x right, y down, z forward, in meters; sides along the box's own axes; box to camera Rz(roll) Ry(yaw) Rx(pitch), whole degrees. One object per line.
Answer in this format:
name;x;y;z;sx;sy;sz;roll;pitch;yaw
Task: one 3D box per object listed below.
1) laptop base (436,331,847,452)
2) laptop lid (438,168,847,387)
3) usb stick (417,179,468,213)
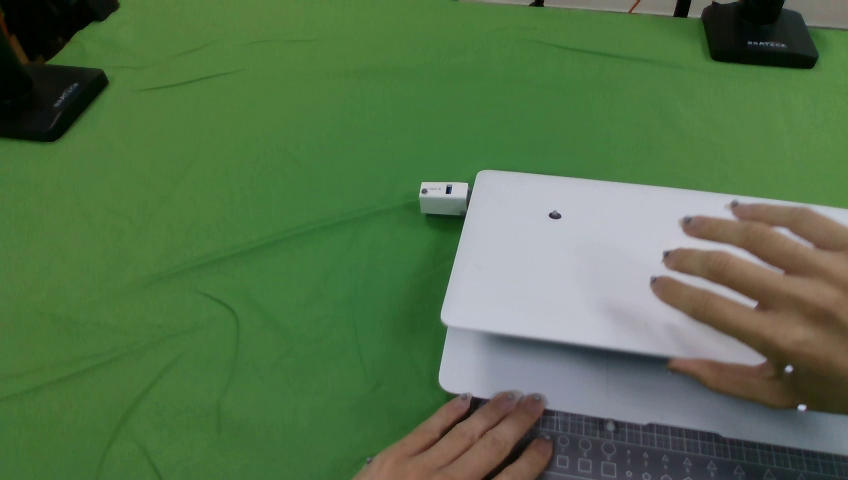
laptop base;0.201;0.046;0.498;0.354;0.023;0.233;7;53;7
laptop lid;0.201;0.015;0.467;0.356;0.013;0.240;8;35;9
usb stick;0.024;-0.040;0.560;0.059;0.027;0.021;3;49;7
